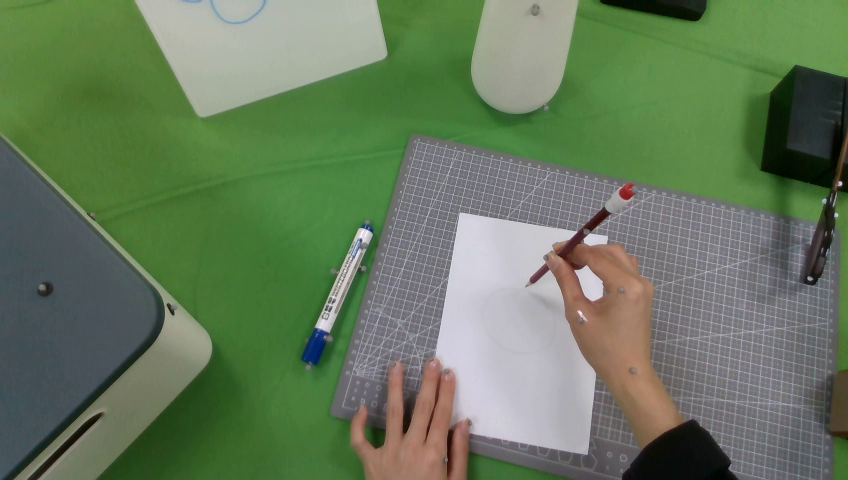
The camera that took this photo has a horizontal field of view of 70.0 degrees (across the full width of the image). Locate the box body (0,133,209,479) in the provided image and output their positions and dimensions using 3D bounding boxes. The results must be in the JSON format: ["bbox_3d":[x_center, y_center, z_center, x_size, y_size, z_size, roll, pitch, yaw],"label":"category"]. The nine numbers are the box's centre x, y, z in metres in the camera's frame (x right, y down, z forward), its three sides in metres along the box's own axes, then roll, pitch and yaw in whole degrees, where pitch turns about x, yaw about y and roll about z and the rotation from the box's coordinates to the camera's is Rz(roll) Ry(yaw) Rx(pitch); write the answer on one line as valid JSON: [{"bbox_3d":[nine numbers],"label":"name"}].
[{"bbox_3d":[-0.396,0.052,0.502,0.362,0.161,0.254,40,76,11],"label":"box body"}]

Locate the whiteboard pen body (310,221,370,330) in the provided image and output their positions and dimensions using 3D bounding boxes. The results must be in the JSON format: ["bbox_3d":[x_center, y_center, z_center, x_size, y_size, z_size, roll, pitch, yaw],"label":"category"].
[{"bbox_3d":[-0.085,0.044,0.584,0.017,0.017,0.140,20,71,7],"label":"whiteboard pen body"}]

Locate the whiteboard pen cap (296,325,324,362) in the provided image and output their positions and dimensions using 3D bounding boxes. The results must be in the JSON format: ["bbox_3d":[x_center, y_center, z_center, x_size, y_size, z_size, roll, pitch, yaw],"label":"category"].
[{"bbox_3d":[-0.104,0.095,0.564,0.018,0.018,0.033,19,68,6],"label":"whiteboard pen cap"}]

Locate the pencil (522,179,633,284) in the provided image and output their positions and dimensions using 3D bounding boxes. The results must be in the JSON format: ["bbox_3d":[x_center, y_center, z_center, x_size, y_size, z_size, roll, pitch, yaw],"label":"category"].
[{"bbox_3d":[0.117,0.002,0.499,0.012,0.195,0.012,6,64,-12],"label":"pencil"}]

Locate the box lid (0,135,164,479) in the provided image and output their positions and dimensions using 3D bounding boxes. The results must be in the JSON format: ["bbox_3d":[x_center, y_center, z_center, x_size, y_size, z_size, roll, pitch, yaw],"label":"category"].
[{"bbox_3d":[-0.397,0.026,0.432,0.370,0.015,0.263,40,75,11],"label":"box lid"}]

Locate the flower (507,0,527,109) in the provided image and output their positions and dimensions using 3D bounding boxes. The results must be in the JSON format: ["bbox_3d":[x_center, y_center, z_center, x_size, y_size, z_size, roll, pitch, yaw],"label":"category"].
[{"bbox_3d":[0.090,-0.251,0.501,0.044,0.365,0.038,7,54,6],"label":"flower"}]

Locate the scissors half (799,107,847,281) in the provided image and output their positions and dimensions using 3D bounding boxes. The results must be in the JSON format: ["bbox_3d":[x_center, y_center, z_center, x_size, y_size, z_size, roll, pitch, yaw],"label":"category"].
[{"bbox_3d":[0.390,-0.045,0.587,0.012,0.040,0.175,14,91,30],"label":"scissors half"}]

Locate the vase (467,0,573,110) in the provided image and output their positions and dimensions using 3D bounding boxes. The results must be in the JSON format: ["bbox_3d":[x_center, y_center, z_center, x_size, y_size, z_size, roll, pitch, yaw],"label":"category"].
[{"bbox_3d":[0.093,-0.210,0.575,0.098,0.201,0.097,0,70,1],"label":"vase"}]

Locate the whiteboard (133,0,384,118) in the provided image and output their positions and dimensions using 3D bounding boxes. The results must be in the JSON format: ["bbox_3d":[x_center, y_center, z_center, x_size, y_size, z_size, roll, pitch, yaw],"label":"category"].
[{"bbox_3d":[-0.185,-0.309,0.581,0.217,0.308,0.142,-20,53,-6],"label":"whiteboard"}]

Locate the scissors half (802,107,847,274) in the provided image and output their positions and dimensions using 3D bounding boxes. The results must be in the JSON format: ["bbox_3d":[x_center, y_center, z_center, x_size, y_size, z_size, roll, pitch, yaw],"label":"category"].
[{"bbox_3d":[0.381,-0.050,0.569,0.013,0.040,0.174,15,73,25],"label":"scissors half"}]

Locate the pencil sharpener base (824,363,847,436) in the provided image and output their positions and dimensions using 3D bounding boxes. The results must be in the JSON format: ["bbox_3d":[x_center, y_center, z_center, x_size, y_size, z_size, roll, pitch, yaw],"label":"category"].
[{"bbox_3d":[0.408,0.140,0.509,0.076,0.107,0.061,17,71,2],"label":"pencil sharpener base"}]
